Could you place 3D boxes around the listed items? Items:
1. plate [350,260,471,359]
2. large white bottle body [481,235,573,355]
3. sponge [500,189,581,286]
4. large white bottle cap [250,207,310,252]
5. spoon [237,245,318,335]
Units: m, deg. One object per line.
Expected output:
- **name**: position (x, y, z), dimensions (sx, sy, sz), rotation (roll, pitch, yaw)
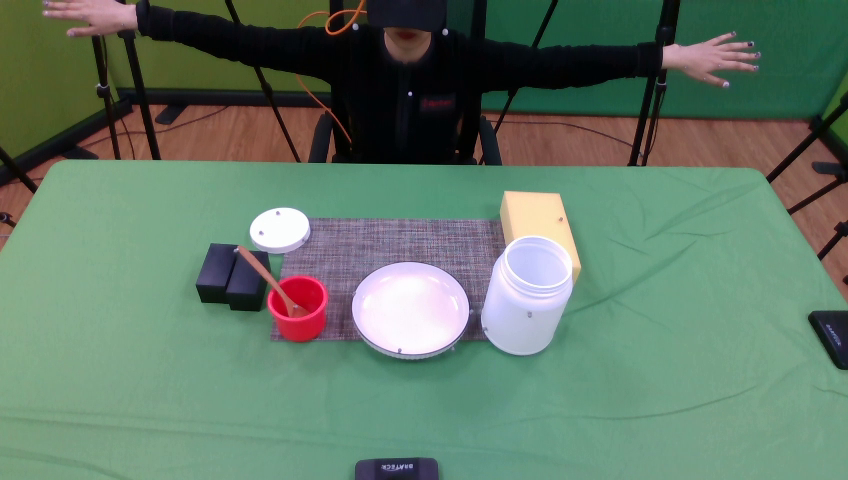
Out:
- **plate**: position (-0.024, 0.124, 1.061), dimensions (0.209, 0.038, 0.208), rotation (2, 46, -2)
- **large white bottle body**: position (0.171, 0.091, 1.006), dimensions (0.131, 0.185, 0.130), rotation (3, 48, -3)
- **sponge**: position (0.223, -0.007, 1.192), dimensions (0.118, 0.061, 0.205), rotation (1, 47, -6)
- **large white bottle cap**: position (-0.284, -0.022, 1.197), dimensions (0.115, 0.018, 0.114), rotation (1, 46, -1)
- **spoon**: position (-0.244, 0.082, 1.010), dimensions (0.041, 0.021, 0.194), rotation (-46, 108, -35)
